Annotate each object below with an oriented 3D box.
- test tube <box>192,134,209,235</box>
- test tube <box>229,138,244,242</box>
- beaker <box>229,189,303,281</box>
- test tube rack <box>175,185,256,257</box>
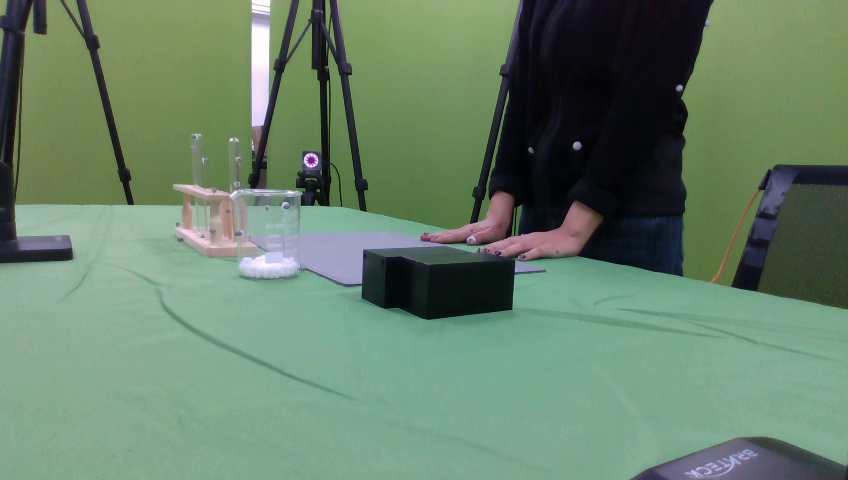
[{"bbox_3d":[-0.332,-0.082,0.898,0.017,0.150,0.017,-2,6,0],"label":"test tube"},{"bbox_3d":[-0.269,-0.071,0.867,0.017,0.150,0.017,0,9,0],"label":"test tube"},{"bbox_3d":[-0.181,-0.007,0.695,0.084,0.100,0.073,-4,9,-36],"label":"beaker"},{"bbox_3d":[-0.324,-0.035,0.922,0.067,0.085,0.241,-2,9,-31],"label":"test tube rack"}]
